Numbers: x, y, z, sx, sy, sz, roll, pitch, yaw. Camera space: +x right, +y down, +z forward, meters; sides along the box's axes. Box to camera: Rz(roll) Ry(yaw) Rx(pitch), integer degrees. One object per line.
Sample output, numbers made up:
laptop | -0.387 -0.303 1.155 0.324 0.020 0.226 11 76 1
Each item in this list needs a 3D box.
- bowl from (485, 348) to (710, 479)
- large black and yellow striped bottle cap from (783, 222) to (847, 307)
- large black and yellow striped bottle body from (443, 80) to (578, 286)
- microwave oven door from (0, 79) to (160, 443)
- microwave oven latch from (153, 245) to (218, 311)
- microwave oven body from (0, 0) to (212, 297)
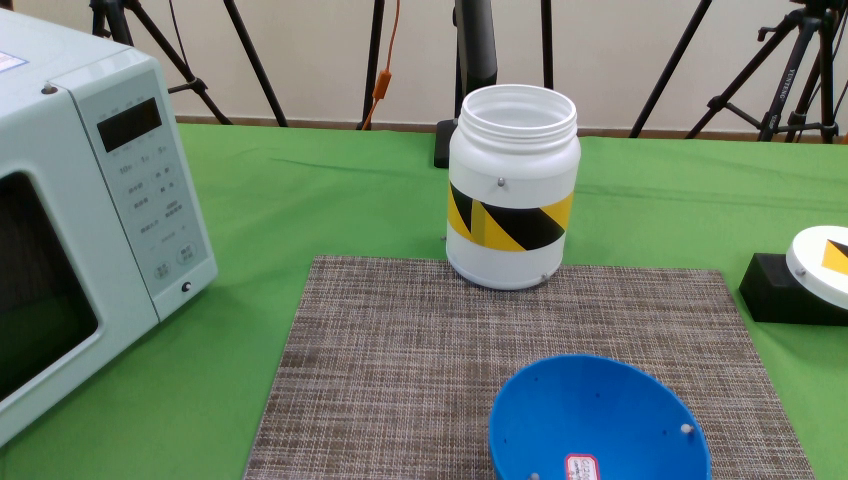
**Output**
bowl | 0.117 0.161 0.443 0.151 0.077 0.150 0 39 0
large black and yellow striped bottle cap | 0.416 0.023 0.591 0.115 0.019 0.114 0 39 1
large black and yellow striped bottle body | 0.087 -0.059 0.629 0.131 0.185 0.129 1 36 0
microwave oven door | -0.355 0.073 0.392 0.039 0.246 0.355 21 43 23
microwave oven latch | -0.242 0.034 0.603 0.030 0.030 0.079 23 45 24
microwave oven body | -0.460 0.007 0.479 0.324 0.262 0.440 21 44 22
